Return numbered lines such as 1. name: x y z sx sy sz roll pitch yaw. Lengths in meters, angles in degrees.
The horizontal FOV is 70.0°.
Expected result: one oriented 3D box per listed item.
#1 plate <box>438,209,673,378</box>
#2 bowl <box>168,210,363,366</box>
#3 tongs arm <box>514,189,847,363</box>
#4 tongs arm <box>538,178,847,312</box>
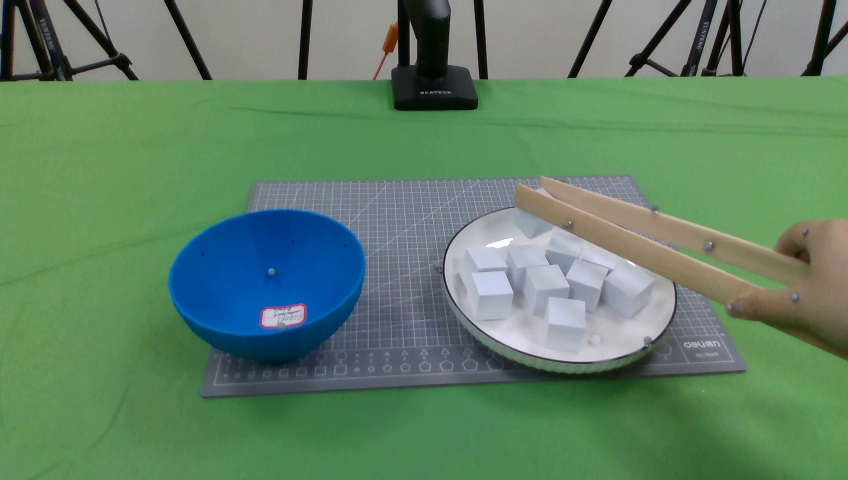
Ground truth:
1. plate: 0.116 0.046 0.552 0.208 0.039 0.205 2 39 -1
2. bowl: -0.124 0.050 0.501 0.151 0.077 0.150 2 39 -1
3. tongs arm: 0.213 0.030 0.439 0.028 0.028 0.383 -22 35 -35
4. tongs arm: 0.230 0.021 0.452 0.381 0.027 0.051 25 40 39
